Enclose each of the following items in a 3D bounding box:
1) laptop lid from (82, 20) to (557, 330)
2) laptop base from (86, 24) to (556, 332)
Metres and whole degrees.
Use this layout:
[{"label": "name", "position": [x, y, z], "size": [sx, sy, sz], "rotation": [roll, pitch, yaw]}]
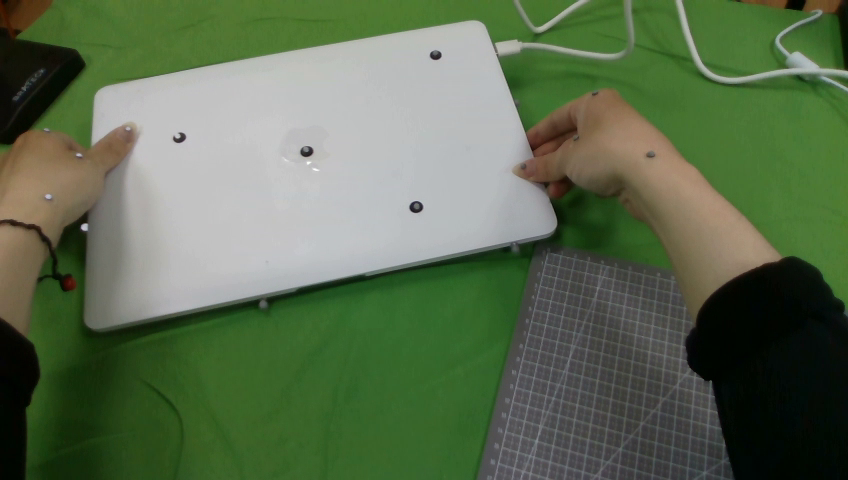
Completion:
[{"label": "laptop lid", "position": [-0.093, -0.069, 0.490], "size": [0.357, 0.013, 0.239], "rotation": [-10, 62, -3]}, {"label": "laptop base", "position": [-0.093, -0.064, 0.503], "size": [0.354, 0.023, 0.233], "rotation": [-12, 63, -4]}]
